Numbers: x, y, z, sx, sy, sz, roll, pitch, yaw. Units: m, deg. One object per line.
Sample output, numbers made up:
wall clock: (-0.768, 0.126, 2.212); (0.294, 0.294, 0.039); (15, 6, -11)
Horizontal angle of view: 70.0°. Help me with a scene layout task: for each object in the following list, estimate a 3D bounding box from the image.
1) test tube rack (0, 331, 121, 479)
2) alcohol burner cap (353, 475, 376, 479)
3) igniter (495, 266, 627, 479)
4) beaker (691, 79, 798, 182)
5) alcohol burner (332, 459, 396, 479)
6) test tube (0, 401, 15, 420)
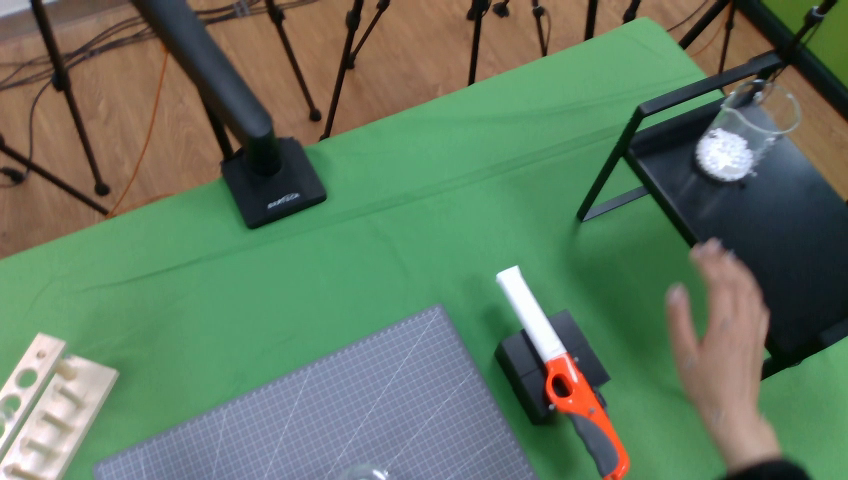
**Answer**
test tube rack: (-0.434, 0.229, 0.648); (0.066, 0.086, 0.241); (17, 62, 5)
alcohol burner cap: (-0.061, 0.253, 0.610); (0.034, 0.048, 0.033); (1, 66, -1)
igniter: (0.160, 0.151, 0.722); (0.057, 0.025, 0.274); (-21, 64, -13)
beaker: (0.355, -0.120, 0.688); (0.084, 0.101, 0.073); (4, 62, -2)
alcohol burner: (-0.065, 0.270, 0.642); (0.078, 0.120, 0.077); (2, 60, -4)
test tube: (-0.375, 0.132, 0.493); (0.017, 0.151, 0.017); (3, 68, -8)
